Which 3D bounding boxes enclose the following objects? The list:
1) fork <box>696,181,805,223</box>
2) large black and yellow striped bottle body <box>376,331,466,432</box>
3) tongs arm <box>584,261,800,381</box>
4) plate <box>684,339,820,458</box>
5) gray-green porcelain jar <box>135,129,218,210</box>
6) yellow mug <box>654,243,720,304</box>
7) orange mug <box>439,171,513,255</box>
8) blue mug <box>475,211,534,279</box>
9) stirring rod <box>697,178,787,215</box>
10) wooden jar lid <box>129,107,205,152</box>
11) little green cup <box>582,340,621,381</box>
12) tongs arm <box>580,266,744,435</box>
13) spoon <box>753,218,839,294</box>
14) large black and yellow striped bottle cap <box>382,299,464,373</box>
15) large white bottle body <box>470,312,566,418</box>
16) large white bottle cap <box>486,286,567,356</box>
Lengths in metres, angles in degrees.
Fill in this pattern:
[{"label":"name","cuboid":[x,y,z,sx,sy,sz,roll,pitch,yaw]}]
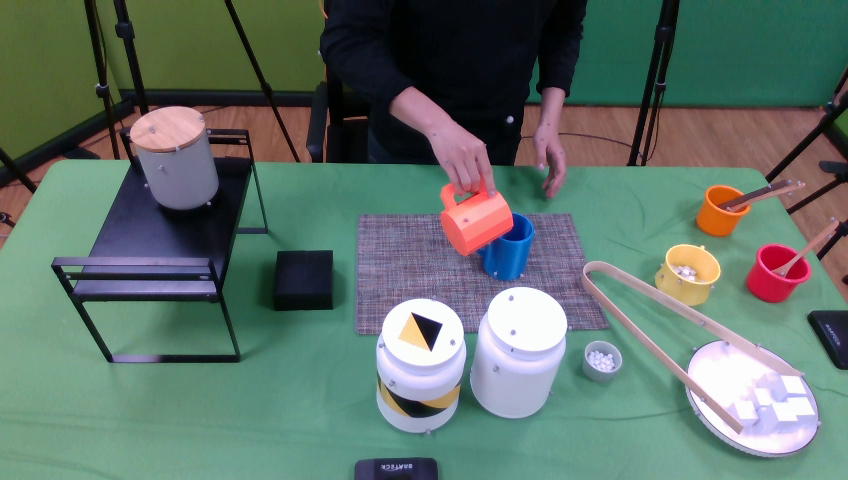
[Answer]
[{"label":"fork","cuboid":[0.659,-0.077,1.232,0.207,0.019,0.028,-26,35,34]},{"label":"large black and yellow striped bottle body","cuboid":[-0.007,0.189,0.905,0.131,0.185,0.130,2,46,-2]},{"label":"tongs arm","cuboid":[0.452,0.137,1.064,0.051,0.027,0.382,-34,50,-27]},{"label":"plate","cuboid":[0.523,0.256,0.982,0.208,0.039,0.206,2,46,-2]},{"label":"gray-green porcelain jar","cuboid":[-0.388,-0.120,0.960,0.106,0.127,0.105,2,46,-2]},{"label":"yellow mug","cuboid":[0.504,0.054,1.154,0.099,0.064,0.130,28,50,22]},{"label":"orange mug","cuboid":[0.083,-0.050,1.034,0.101,0.126,0.083,-25,14,-16]},{"label":"blue mug","cuboid":[0.141,0.005,1.140,0.116,0.106,0.082,18,48,13]},{"label":"stirring rod","cuboid":[0.650,-0.088,1.245,0.006,0.176,0.014,29,50,-39]},{"label":"wooden jar lid","cuboid":[-0.385,-0.163,0.915,0.108,0.021,0.107,2,47,-2]},{"label":"little green cup","cuboid":[0.295,0.204,1.015,0.061,0.039,0.061,2,45,-2]},{"label":"tongs arm","cuboid":[0.384,0.173,1.028,0.028,0.028,0.385,-25,46,-15]},{"label":"spoon","cuboid":[0.700,0.031,1.138,0.194,0.022,0.041,-47,54,14]},{"label":"large black and yellow striped bottle cap","cuboid":[-0.002,0.132,0.843,0.115,0.019,0.114,2,46,-2]},{"label":"large white bottle body","cuboid":[0.143,0.173,0.930,0.131,0.185,0.130,2,46,-2]},{"label":"large white bottle cap","cuboid":[0.147,0.114,0.869,0.115,0.018,0.114,3,46,-3]}]
